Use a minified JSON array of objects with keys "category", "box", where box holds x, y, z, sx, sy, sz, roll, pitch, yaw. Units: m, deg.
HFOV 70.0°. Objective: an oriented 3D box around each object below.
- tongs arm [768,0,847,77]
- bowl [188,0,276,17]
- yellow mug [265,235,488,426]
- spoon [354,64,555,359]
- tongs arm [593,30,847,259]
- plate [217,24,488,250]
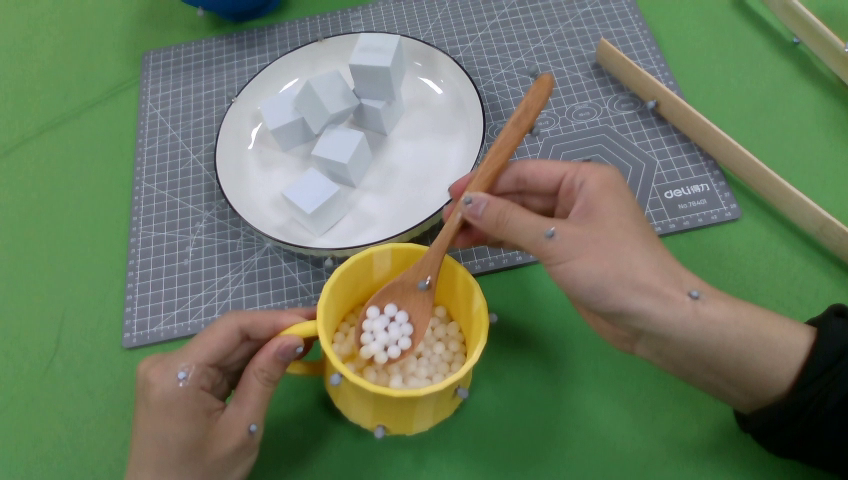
[{"category":"tongs arm","box":[0.329,-0.074,0.425,0.051,0.027,0.381,-25,64,-6]},{"category":"bowl","box":[-0.180,-0.266,0.566,0.151,0.077,0.150,-3,62,7]},{"category":"yellow mug","box":[-0.030,0.058,0.369,0.131,0.064,0.099,-8,57,-10]},{"category":"spoon","box":[0.019,-0.014,0.345,0.041,0.022,0.194,36,103,15]},{"category":"tongs arm","box":[0.259,-0.034,0.416,0.028,0.028,0.384,-35,65,-15]},{"category":"plate","box":[-0.054,-0.081,0.472,0.207,0.039,0.206,-3,62,6]}]
